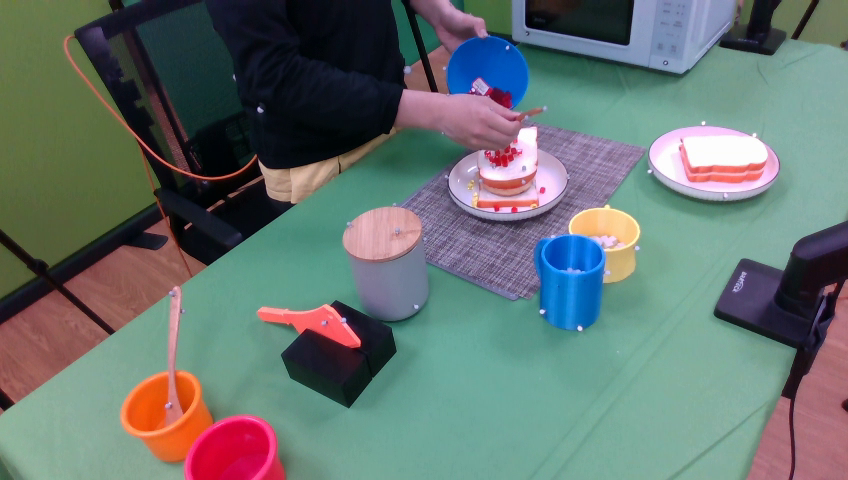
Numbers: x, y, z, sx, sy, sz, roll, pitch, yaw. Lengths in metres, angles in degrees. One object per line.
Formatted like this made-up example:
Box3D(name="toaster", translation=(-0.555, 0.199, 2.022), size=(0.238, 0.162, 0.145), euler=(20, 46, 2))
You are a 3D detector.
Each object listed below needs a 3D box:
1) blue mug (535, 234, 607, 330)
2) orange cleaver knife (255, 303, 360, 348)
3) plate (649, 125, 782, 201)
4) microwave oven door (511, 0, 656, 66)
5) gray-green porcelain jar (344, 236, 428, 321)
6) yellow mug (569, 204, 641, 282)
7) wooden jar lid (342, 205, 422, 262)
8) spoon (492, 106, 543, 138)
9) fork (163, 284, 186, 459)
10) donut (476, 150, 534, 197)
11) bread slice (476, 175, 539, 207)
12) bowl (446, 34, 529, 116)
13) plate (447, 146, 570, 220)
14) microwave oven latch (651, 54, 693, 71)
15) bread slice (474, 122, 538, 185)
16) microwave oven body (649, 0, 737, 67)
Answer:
Box3D(name="blue mug", translation=(0.190, 0.048, 0.824), size=(0.082, 0.106, 0.115), euler=(-26, 44, -21))
Box3D(name="orange cleaver knife", translation=(-0.161, 0.115, 0.813), size=(0.210, 0.077, 0.012), euler=(-4, 32, 47))
Box3D(name="plate", translation=(0.493, -0.128, 1.036), size=(0.207, 0.039, 0.206), euler=(-4, 41, 4))
Box3D(name="microwave oven door", translation=(0.351, -0.539, 1.349), size=(0.353, 0.245, 0.039), euler=(24, 50, 31))
Box3D(name="gray-green porcelain jar", translation=(-0.049, 0.042, 0.849), size=(0.106, 0.127, 0.105), euler=(-4, 41, 4))
Box3D(name="yellow mug", translation=(0.268, -0.005, 0.904), size=(0.099, 0.064, 0.130), euler=(7, 41, 15))
Box3D(name="wooden jar lid", translation=(-0.055, -0.006, 0.808), size=(0.108, 0.021, 0.108), euler=(-6, 40, 6))
Box3D(name="spoon", translation=(0.143, -0.181, 0.923), size=(0.042, 0.021, 0.193), euler=(-1, -4, -8))
Box3D(name="fork", translation=(-0.302, 0.157, 0.733), size=(0.028, 0.019, 0.207), euler=(-3, 84, 15))
Box3D(name="donut", translation=(0.138, -0.116, 1.025), size=(0.099, 0.048, 0.098), euler=(-8, 55, 13))
Box3D(name="bread slice", translation=(0.144, -0.104, 1.058), size=(0.105, 0.019, 0.131), euler=(0, 43, 5))
Box3D(name="bowl", translation=(0.111, -0.290, 1.110), size=(0.152, 0.077, 0.151), euler=(1, 81, -4))
Box3D(name="plate", translation=(0.145, -0.098, 1.046), size=(0.209, 0.038, 0.208), euler=(-4, 41, 4))
Box3D(name="microwave oven latch", translation=(0.532, -0.386, 1.301), size=(0.078, 0.029, 0.030), euler=(26, 52, 34))
Box3D(name="bread slice", translation=(0.141, -0.144, 1.008), size=(0.107, 0.018, 0.133), euler=(-9, 48, 9))
Box3D(name="microwave oven body", translation=(0.475, -0.602, 1.411), size=(0.438, 0.261, 0.327), euler=(23, 50, 32))
